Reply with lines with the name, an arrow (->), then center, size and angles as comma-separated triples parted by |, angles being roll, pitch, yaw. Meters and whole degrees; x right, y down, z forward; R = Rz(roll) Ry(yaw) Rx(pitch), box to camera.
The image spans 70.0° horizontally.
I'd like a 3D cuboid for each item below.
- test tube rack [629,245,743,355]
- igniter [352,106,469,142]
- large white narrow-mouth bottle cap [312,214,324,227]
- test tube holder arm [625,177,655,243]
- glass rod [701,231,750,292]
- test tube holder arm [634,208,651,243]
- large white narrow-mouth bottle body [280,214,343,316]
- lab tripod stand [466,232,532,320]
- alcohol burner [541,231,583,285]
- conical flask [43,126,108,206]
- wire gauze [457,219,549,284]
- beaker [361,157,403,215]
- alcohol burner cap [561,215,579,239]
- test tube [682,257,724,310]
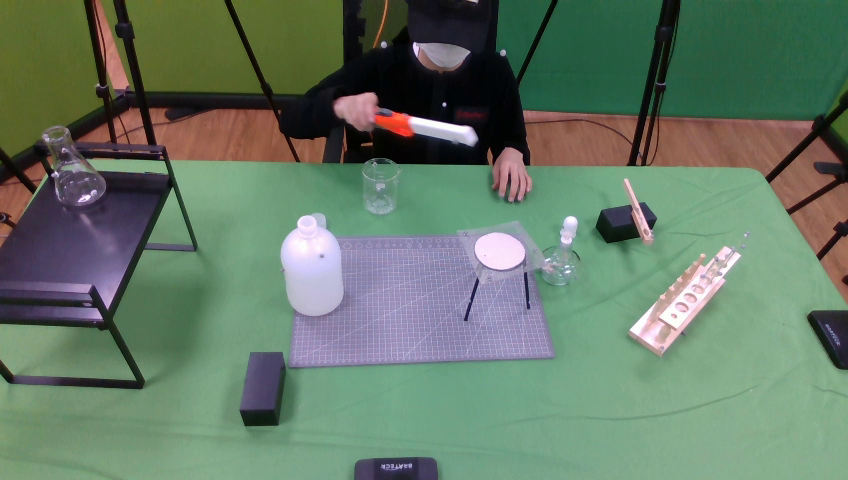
test tube rack -> 0.474, 0.095, 1.091 | 0.242, 0.085, 0.066 | -34, 56, -31
igniter -> -0.034, -0.201, 1.039 | 0.275, 0.057, 0.025 | 19, 66, 43
large white narrow-mouth bottle cap -> -0.219, -0.033, 1.214 | 0.038, 0.024, 0.037 | 2, 46, -2
test tube holder arm -> 0.433, -0.063, 1.220 | 0.013, 0.015, 0.177 | 1, 47, -3
glass rod -> 0.519, 0.045, 1.050 | 0.008, 0.201, 0.008 | 0, 55, 0
test tube holder arm -> 0.428, -0.030, 1.189 | 0.010, 0.015, 0.087 | 1, 47, -2
large white narrow-mouth bottle body -> -0.190, 0.035, 1.024 | 0.102, 0.195, 0.101 | 2, 46, -2
lab tripod stand -> 0.125, 0.059, 1.065 | 0.148, 0.132, 0.147 | 1, 45, 0
alcohol burner -> 0.258, 0.028, 1.123 | 0.078, 0.120, 0.077 | 1, 48, -1
conical flask -> -0.555, -0.119, 0.953 | 0.075, 0.122, 0.075 | 2, 46, -2
wire gauze -> 0.131, 0.014, 1.016 | 0.121, 0.011, 0.124 | -12, 47, -14
beaker -> -0.086, -0.108, 1.241 | 0.084, 0.101, 0.073 | -8, 48, -13
alcohol burner cap -> 0.299, -0.030, 1.231 | 0.034, 0.048, 0.033 | 1, 46, 0
test tube -> 0.475, 0.080, 1.037 | 0.017, 0.151, 0.017 | 2, 51, -2
